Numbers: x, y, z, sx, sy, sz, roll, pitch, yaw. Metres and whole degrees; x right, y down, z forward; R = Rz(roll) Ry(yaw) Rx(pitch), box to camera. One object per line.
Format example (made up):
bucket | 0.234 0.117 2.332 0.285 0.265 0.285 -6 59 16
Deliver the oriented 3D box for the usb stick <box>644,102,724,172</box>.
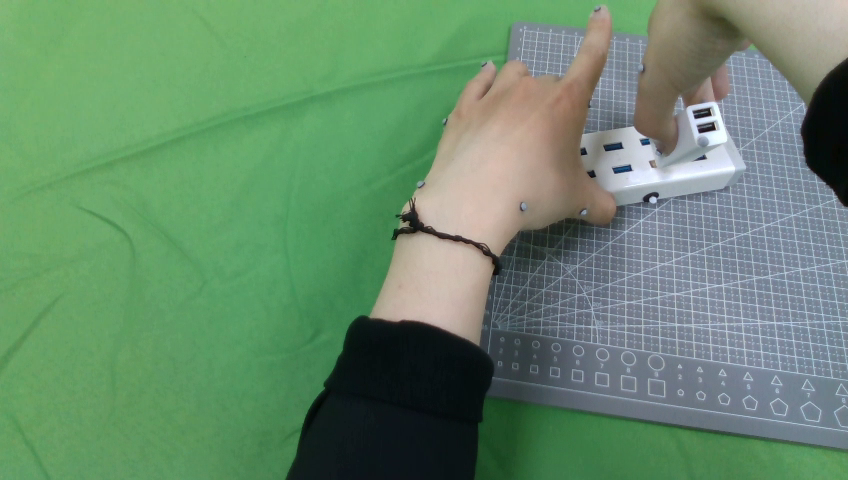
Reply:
usb stick | 0.153 -0.059 0.369 0.021 0.059 0.027 -17 79 -10

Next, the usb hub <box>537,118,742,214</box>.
usb hub | 0.143 -0.052 0.407 0.125 0.025 0.049 -9 63 -6
